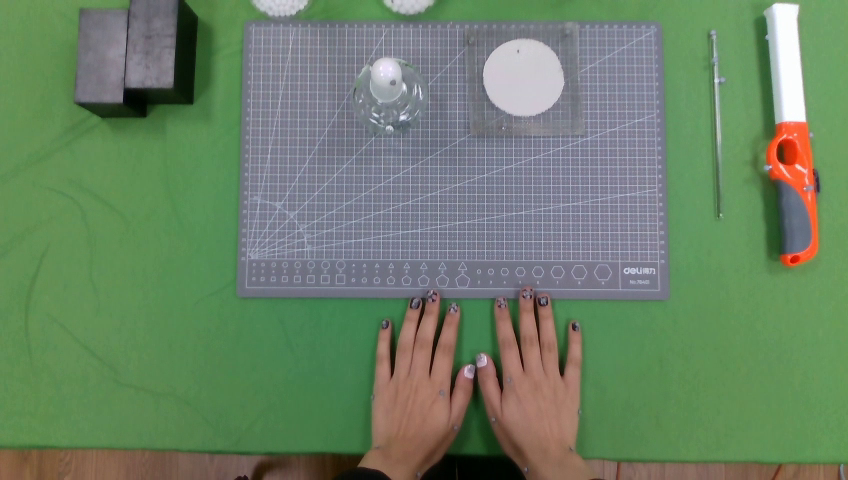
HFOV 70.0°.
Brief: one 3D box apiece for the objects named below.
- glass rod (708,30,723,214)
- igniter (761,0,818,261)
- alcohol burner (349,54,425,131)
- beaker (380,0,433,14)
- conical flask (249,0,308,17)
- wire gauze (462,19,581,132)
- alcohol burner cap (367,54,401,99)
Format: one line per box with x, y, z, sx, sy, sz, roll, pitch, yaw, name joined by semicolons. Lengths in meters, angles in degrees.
0.309;-0.126;0.643;0.008;0.008;0.199;0;85;0;glass rod
0.380;-0.116;0.633;0.057;0.025;0.276;-1;86;-10;igniter
-0.037;-0.149;0.593;0.078;0.119;0.078;0;87;0;alcohol burner
-0.017;-0.281;0.613;0.084;0.100;0.074;36;87;3;beaker
-0.157;-0.282;0.602;0.075;0.122;0.075;0;85;0;conical flask
0.105;-0.175;0.647;0.125;0.011;0.121;-2;86;-2;wire gauze
-0.036;-0.153;0.557;0.034;0.048;0.034;0;86;-5;alcohol burner cap
